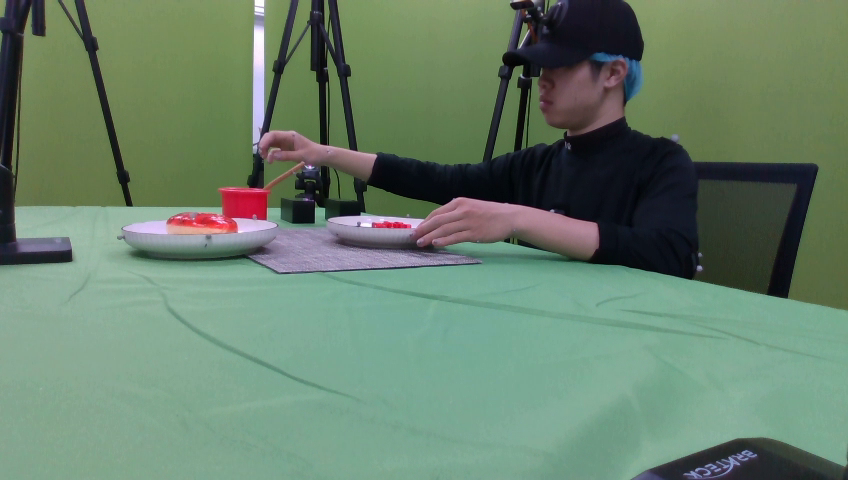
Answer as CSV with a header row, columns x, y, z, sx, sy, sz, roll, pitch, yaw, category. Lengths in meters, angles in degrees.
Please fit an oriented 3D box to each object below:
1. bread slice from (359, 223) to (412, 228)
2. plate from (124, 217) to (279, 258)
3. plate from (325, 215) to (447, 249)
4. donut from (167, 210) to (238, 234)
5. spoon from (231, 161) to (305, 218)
x,y,z,sx,sy,sz,roll,pitch,yaw,category
-0.062,-0.013,1.034,0.105,0.019,0.131,1,9,-19,bread slice
-0.315,-0.004,0.871,0.208,0.039,0.207,1,8,0,plate
-0.065,-0.015,1.035,0.209,0.038,0.209,3,8,0,plate
-0.321,-0.017,0.882,0.099,0.048,0.099,3,6,0,donut
-0.314,-0.096,1.192,0.194,0.022,0.041,-42,12,-5,spoon
